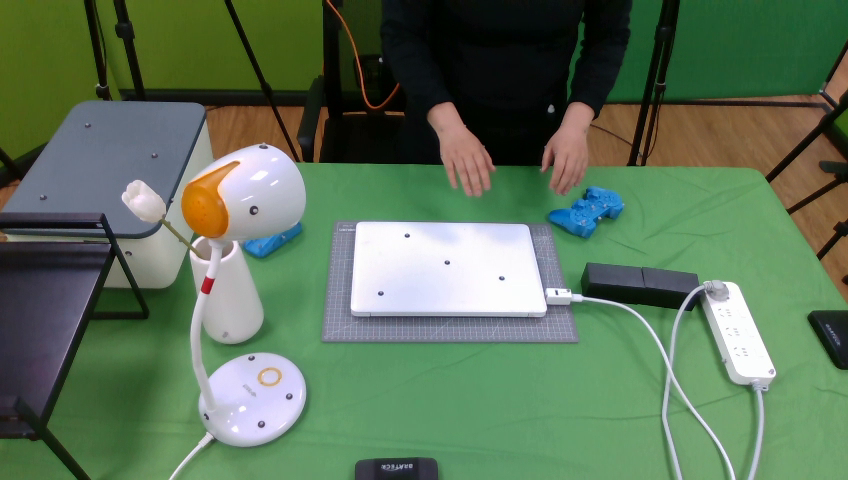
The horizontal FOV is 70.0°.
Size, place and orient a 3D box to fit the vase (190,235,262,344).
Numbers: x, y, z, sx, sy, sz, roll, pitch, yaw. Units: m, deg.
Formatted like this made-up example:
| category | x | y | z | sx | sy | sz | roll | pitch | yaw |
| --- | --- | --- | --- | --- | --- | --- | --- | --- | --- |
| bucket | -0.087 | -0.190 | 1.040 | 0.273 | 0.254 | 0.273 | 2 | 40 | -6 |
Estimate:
| category | x | y | z | sx | sy | sz | roll | pitch | yaw |
| --- | --- | --- | --- | --- | --- | --- | --- | --- | --- |
| vase | -0.317 | 0.081 | 0.971 | 0.098 | 0.201 | 0.097 | 3 | 47 | -3 |

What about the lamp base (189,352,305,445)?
| category | x | y | z | sx | sy | sz | roll | pitch | yaw |
| --- | --- | --- | --- | --- | --- | --- | --- | --- | --- |
| lamp base | -0.268 | 0.196 | 0.876 | 0.160 | 0.181 | 0.179 | 26 | 52 | 20 |

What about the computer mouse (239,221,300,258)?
| category | x | y | z | sx | sy | sz | roll | pitch | yaw |
| --- | --- | --- | --- | --- | --- | --- | --- | --- | --- |
| computer mouse | -0.300 | -0.016 | 1.178 | 0.062 | 0.041 | 0.117 | 35 | 57 | 23 |

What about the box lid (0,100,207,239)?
| category | x | y | z | sx | sy | sz | roll | pitch | yaw |
| --- | --- | --- | --- | --- | --- | --- | --- | --- | --- |
| box lid | -0.559 | -0.138 | 1.085 | 0.263 | 0.015 | 0.369 | 2 | 46 | -2 |

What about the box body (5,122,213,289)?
| category | x | y | z | sx | sy | sz | roll | pitch | yaw |
| --- | --- | --- | --- | --- | --- | --- | --- | --- | --- |
| box body | -0.563 | -0.087 | 1.140 | 0.254 | 0.161 | 0.361 | 2 | 46 | -3 |

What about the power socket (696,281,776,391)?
| category | x | y | z | sx | sy | sz | roll | pitch | yaw |
| --- | --- | --- | --- | --- | --- | --- | --- | --- | --- |
| power socket | 0.550 | 0.160 | 1.078 | 0.072 | 0.033 | 0.225 | 2 | 46 | -1 |

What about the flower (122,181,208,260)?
| category | x | y | z | sx | sy | sz | roll | pitch | yaw |
| --- | --- | --- | --- | --- | --- | --- | --- | --- | --- |
| flower | -0.329 | 0.029 | 0.905 | 0.038 | 0.364 | 0.044 | -21 | 58 | -1 |

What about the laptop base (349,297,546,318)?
| category | x | y | z | sx | sy | sz | roll | pitch | yaw |
| --- | --- | --- | --- | --- | --- | --- | --- | --- | --- |
| laptop base | 0.041 | 0.055 | 1.149 | 0.355 | 0.023 | 0.234 | 1 | 43 | -4 |

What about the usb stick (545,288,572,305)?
| category | x | y | z | sx | sy | sz | roll | pitch | yaw |
| --- | --- | --- | --- | --- | --- | --- | --- | --- | --- |
| usb stick | 0.236 | 0.103 | 1.101 | 0.059 | 0.027 | 0.021 | 0 | 50 | 1 |

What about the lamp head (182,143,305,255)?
| category | x | y | z | sx | sy | sz | roll | pitch | yaw |
| --- | --- | --- | --- | --- | --- | --- | --- | --- | --- |
| lamp head | -0.216 | -0.044 | 0.697 | 0.112 | 0.113 | 0.123 | 23 | 31 | 17 |

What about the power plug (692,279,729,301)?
| category | x | y | z | sx | sy | sz | roll | pitch | yaw |
| --- | --- | --- | --- | --- | --- | --- | --- | --- | --- |
| power plug | 0.522 | 0.092 | 1.115 | 0.072 | 0.053 | 0.035 | 8 | 46 | 7 |

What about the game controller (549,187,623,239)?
| category | x | y | z | sx | sy | sz | roll | pitch | yaw |
| --- | --- | --- | --- | --- | --- | --- | --- | --- | --- |
| game controller | 0.345 | -0.065 | 1.272 | 0.155 | 0.052 | 0.096 | -31 | 58 | -29 |

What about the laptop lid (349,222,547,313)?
| category | x | y | z | sx | sy | sz | roll | pitch | yaw |
| --- | --- | --- | --- | --- | --- | --- | --- | --- | --- |
| laptop lid | 0.041 | 0.045 | 1.143 | 0.357 | 0.013 | 0.240 | 2 | 44 | -3 |
